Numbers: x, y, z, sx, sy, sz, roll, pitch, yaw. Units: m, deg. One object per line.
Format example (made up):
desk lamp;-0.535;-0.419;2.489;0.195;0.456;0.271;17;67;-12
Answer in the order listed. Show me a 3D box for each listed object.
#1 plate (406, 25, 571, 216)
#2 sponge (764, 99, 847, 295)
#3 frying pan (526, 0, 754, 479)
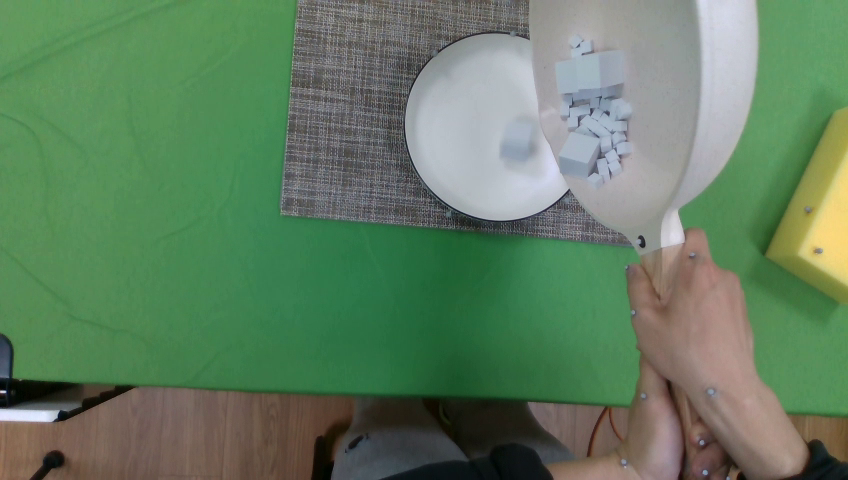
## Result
plate;0.082;-0.128;0.667;0.208;0.039;0.207;0;88;-7
sponge;0.509;-0.052;0.711;0.118;0.061;0.206;28;86;-5
frying pan;0.176;-0.057;0.487;0.103;0.307;0.486;-5;82;-5
